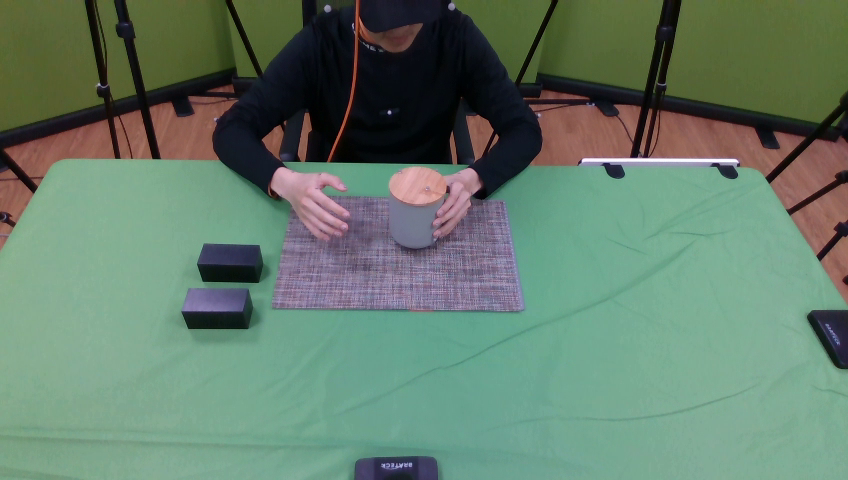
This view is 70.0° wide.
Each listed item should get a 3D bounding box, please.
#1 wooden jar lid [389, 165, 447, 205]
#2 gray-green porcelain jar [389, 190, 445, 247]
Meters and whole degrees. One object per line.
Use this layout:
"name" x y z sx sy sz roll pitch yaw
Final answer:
"wooden jar lid" -0.012 -0.098 1.127 0.108 0.021 0.107 1 45 -1
"gray-green porcelain jar" -0.015 -0.057 1.171 0.106 0.127 0.105 2 48 -2
